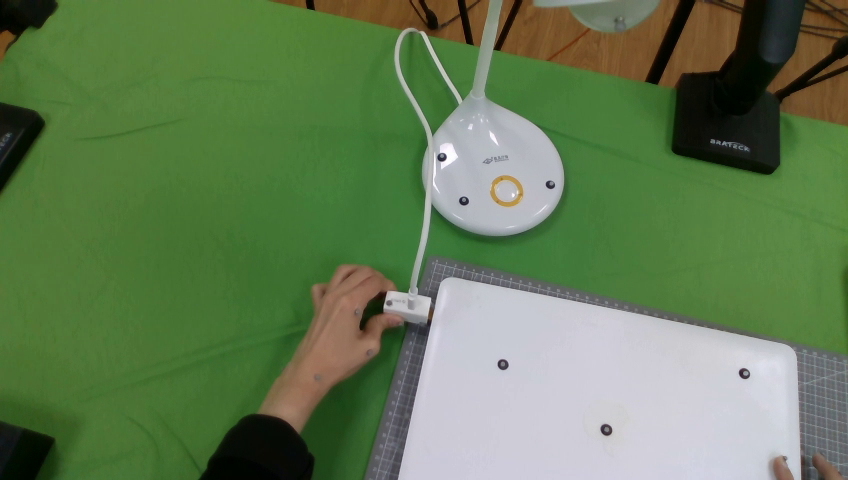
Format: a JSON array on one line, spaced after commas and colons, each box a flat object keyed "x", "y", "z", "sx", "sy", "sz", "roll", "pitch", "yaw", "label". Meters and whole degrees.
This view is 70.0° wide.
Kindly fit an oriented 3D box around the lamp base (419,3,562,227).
[{"x": 0.070, "y": -0.129, "z": 0.612, "sx": 0.161, "sy": 0.181, "sz": 0.177, "roll": -23, "pitch": 64, "yaw": -12, "label": "lamp base"}]

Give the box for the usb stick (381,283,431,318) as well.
[{"x": -0.012, "y": 0.061, "z": 0.593, "sx": 0.059, "sy": 0.027, "sz": 0.021, "roll": 11, "pitch": 58, "yaw": -1, "label": "usb stick"}]

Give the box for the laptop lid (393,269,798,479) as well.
[{"x": 0.163, "y": 0.165, "z": 0.552, "sx": 0.356, "sy": 0.013, "sz": 0.240, "roll": 13, "pitch": 68, "yaw": 4, "label": "laptop lid"}]

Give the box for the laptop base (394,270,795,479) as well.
[{"x": 0.163, "y": 0.169, "z": 0.564, "sx": 0.354, "sy": 0.023, "sz": 0.234, "roll": 11, "pitch": 68, "yaw": 3, "label": "laptop base"}]
